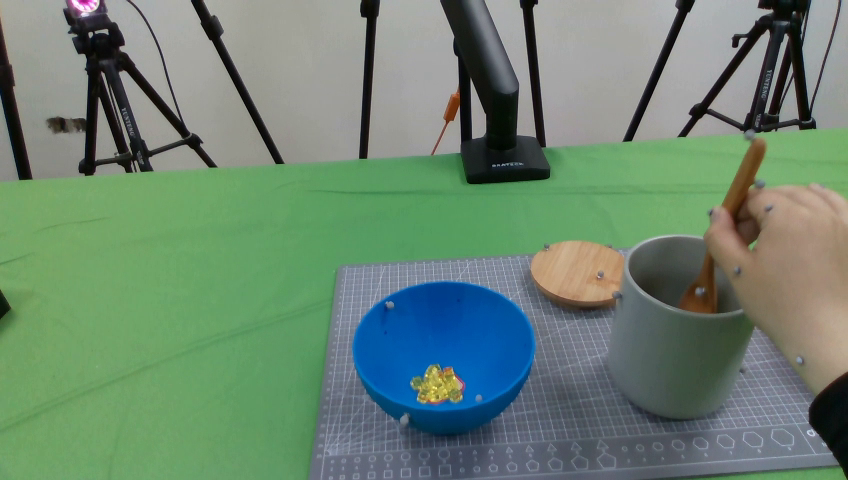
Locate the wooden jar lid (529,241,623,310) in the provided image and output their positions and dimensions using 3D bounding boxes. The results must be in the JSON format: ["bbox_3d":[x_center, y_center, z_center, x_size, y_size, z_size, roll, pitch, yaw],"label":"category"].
[{"bbox_3d":[0.168,0.039,0.658,0.108,0.021,0.107,-2,34,2],"label":"wooden jar lid"}]

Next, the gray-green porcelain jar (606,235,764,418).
[{"bbox_3d":[0.211,0.076,0.508,0.106,0.127,0.105,-2,35,2],"label":"gray-green porcelain jar"}]

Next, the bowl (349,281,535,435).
[{"bbox_3d":[0.016,0.111,0.515,0.151,0.077,0.150,-2,35,2],"label":"bowl"}]

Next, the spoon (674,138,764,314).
[{"bbox_3d":[0.214,0.008,0.446,0.021,0.195,0.041,-10,46,-1],"label":"spoon"}]
